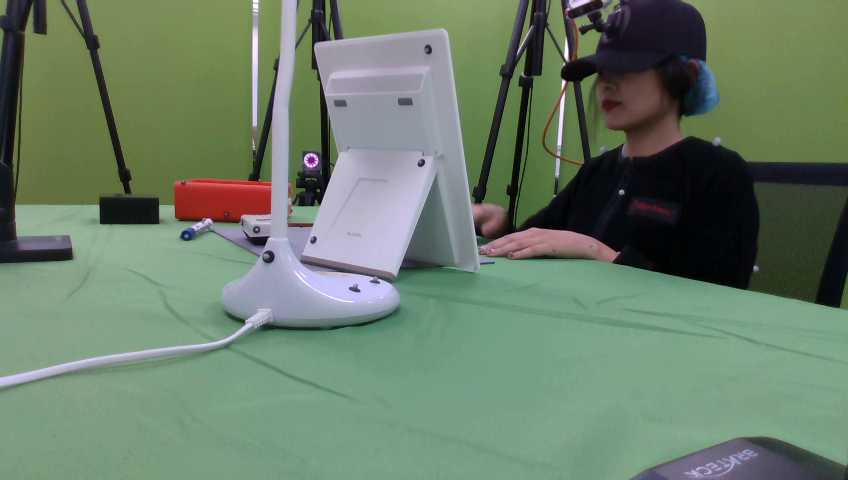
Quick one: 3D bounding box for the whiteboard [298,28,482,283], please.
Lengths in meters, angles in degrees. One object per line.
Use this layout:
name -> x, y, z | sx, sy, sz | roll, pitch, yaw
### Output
whiteboard -> -0.075, -0.082, 0.741 | 0.216, 0.305, 0.144 | 9, 29, 38

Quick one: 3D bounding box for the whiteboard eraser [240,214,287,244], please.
whiteboard eraser -> -0.256, -0.018, 0.958 | 0.056, 0.042, 0.112 | 0, 8, -25

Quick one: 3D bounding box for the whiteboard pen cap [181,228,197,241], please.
whiteboard pen cap -> -0.375, -0.010, 0.968 | 0.018, 0.018, 0.033 | 2, 10, -6

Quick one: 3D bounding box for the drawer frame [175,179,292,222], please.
drawer frame -> -0.402, -0.087, 1.311 | 0.214, 0.082, 0.201 | 1, 8, -9

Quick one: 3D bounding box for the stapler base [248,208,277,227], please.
stapler base -> -0.350, -0.053, 1.310 | 0.041, 0.024, 0.130 | 1, 13, -4

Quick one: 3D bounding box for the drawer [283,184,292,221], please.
drawer -> -0.397, -0.086, 1.314 | 0.212, 0.073, 0.194 | 1, 8, -9

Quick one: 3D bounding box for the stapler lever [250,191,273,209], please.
stapler lever -> -0.351, -0.086, 1.305 | 0.027, 0.040, 0.118 | 1, 5, -4

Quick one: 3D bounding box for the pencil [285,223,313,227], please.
pencil -> -0.234, -0.030, 1.198 | 0.195, 0.012, 0.012 | 0, 8, -20

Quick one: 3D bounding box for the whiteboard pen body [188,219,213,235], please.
whiteboard pen body -> -0.382, -0.020, 1.026 | 0.017, 0.017, 0.140 | 2, 9, -6

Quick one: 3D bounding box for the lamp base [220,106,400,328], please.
lamp base -> -0.101, -0.023, 0.531 | 0.160, 0.180, 0.179 | 4, 10, 10
